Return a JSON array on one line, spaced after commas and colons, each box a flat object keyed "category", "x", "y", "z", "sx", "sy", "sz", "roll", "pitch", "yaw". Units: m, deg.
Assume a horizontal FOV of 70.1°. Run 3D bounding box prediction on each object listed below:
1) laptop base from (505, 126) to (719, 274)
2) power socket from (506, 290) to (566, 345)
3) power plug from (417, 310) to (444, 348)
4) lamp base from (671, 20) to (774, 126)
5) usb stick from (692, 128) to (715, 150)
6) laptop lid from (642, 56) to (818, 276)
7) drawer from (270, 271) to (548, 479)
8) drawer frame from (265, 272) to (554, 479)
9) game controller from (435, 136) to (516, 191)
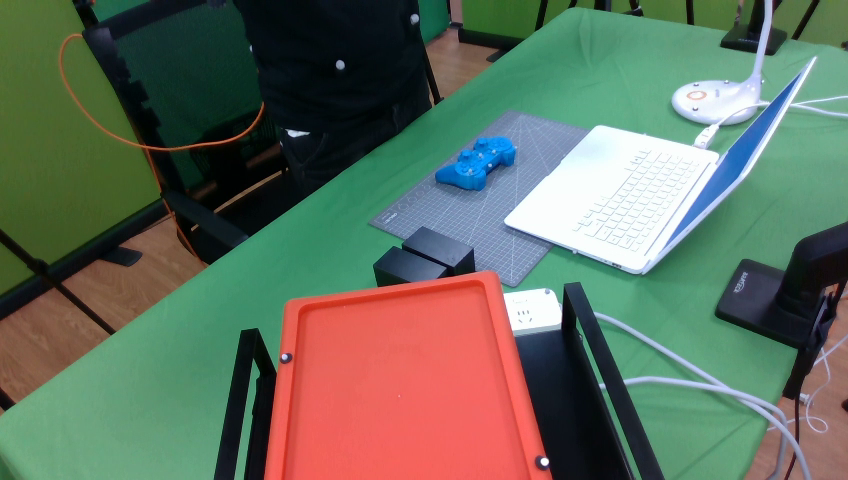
[{"category": "laptop base", "x": 0.326, "y": -0.084, "z": 1.027, "sx": 0.233, "sy": 0.023, "sz": 0.355, "roll": 21, "pitch": 48, "yaw": 32}, {"category": "power socket", "x": 0.081, "y": 0.112, "z": 0.822, "sx": 0.227, "sy": 0.033, "sz": 0.072, "roll": -7, "pitch": 40, "yaw": 0}, {"category": "power plug", "x": 0.007, "y": 0.123, "z": 0.784, "sx": 0.035, "sy": 0.053, "sz": 0.072, "roll": -1, "pitch": 43, "yaw": 7}, {"category": "lamp base", "x": 0.581, "y": -0.332, "z": 1.153, "sx": 0.179, "sy": 0.181, "sz": 0.160, "roll": 2, "pitch": 42, "yaw": 7}, {"category": "usb stick", "x": 0.502, "y": -0.176, "z": 1.091, "sx": 0.021, "sy": 0.027, "sz": 0.059, "roll": 29, "pitch": 56, "yaw": 29}, {"category": "laptop lid", "x": 0.445, "y": -0.108, "z": 0.876, "sx": 0.013, "sy": 0.241, "sz": 0.357, "roll": 39, "pitch": 53, "yaw": 12}, {"category": "drawer", "x": -0.018, "y": 0.132, "z": 0.499, "sx": 0.195, "sy": 0.073, "sz": 0.210, "roll": -8, "pitch": 41, "yaw": -1}, {"category": "drawer frame", "x": -0.016, "y": 0.134, "z": 0.494, "sx": 0.202, "sy": 0.083, "sz": 0.212, "roll": -8, "pitch": 41, "yaw": -2}, {"category": "game controller", "x": 0.099, "y": -0.150, "z": 1.110, "sx": 0.096, "sy": 0.052, "sz": 0.155, "roll": 30, "pitch": 53, "yaw": 29}]
